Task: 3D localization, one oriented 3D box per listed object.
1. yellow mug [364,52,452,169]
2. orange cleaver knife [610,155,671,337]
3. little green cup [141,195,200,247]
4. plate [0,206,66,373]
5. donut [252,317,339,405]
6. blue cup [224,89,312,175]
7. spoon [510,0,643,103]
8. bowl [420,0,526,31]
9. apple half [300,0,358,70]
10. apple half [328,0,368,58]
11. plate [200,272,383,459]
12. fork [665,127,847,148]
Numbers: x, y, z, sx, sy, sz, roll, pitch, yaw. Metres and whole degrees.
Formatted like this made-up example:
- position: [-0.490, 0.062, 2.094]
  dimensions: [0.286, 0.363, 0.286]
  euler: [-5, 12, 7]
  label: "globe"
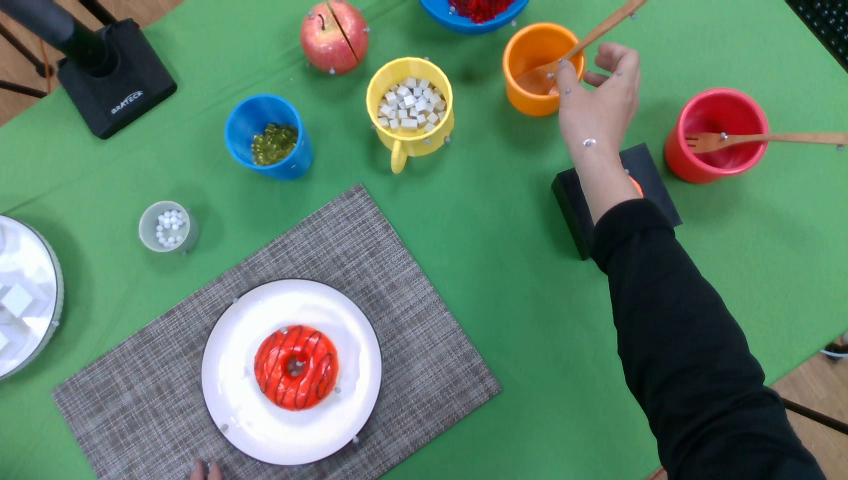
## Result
- position: [-0.020, -0.147, 0.717]
  dimensions: [0.100, 0.064, 0.130]
  euler: [13, 84, 5]
  label: "yellow mug"
- position: [0.239, 0.008, 0.672]
  dimensions: [0.012, 0.076, 0.213]
  euler: [-19, 110, 3]
  label: "orange cleaver knife"
- position: [-0.303, -0.020, 0.731]
  dimensions: [0.061, 0.039, 0.061]
  euler: [-1, 82, 4]
  label: "little green cup"
- position: [-0.530, 0.062, 0.733]
  dimensions: [0.207, 0.039, 0.207]
  euler: [0, 82, 4]
  label: "plate"
- position: [-0.145, 0.136, 0.685]
  dimensions: [0.099, 0.048, 0.099]
  euler: [0, 84, 4]
  label: "donut"
- position: [-0.172, -0.117, 0.704]
  dimensions: [0.092, 0.100, 0.092]
  euler: [0, 83, 2]
  label: "blue cup"
- position: [0.170, -0.215, 0.673]
  dimensions: [0.022, 0.194, 0.041]
  euler: [-16, 77, -44]
  label: "spoon"
- position: [0.060, -0.313, 0.729]
  dimensions: [0.151, 0.077, 0.151]
  euler: [0, 83, 3]
  label: "bowl"
- position: [-0.120, -0.242, 0.732]
  dimensions: [0.053, 0.075, 0.080]
  euler: [-29, 85, 3]
  label: "apple half"
- position: [-0.085, -0.262, 0.732]
  dimensions: [0.033, 0.081, 0.081]
  euler: [-28, 81, 0]
  label: "apple half"
- position: [-0.149, 0.141, 0.696]
  dimensions: [0.209, 0.038, 0.208]
  euler: [0, 82, 4]
  label: "plate"
- position: [0.361, -0.112, 0.649]
  dimensions: [0.206, 0.019, 0.028]
  euler: [8, 65, 47]
  label: "fork"
